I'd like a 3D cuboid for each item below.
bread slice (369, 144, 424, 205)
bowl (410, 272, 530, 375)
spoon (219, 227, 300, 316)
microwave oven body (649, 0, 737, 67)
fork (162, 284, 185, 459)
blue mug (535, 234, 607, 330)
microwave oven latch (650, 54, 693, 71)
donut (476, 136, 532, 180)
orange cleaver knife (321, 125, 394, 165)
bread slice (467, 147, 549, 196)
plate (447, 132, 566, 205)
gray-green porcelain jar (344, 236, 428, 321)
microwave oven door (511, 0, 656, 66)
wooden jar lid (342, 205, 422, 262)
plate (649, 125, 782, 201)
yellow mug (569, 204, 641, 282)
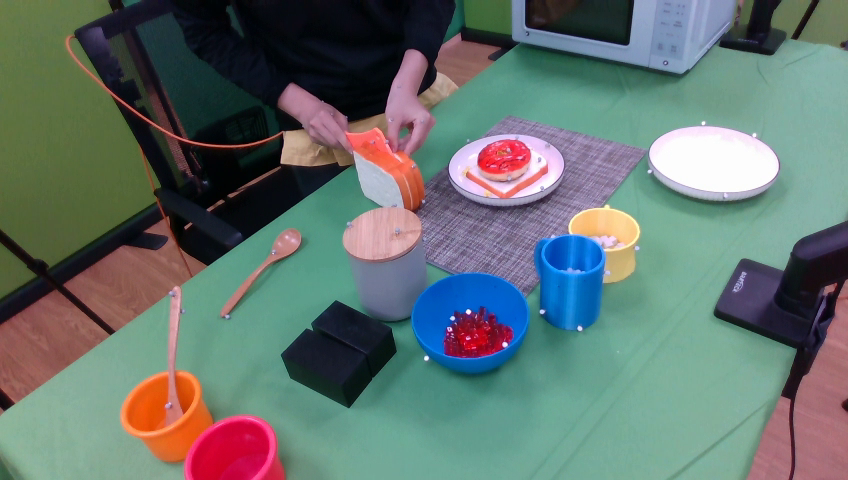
[{"bbox_3d":[-0.051,-0.116,1.053,0.018,0.107,0.133,-36,55,-27],"label":"bread slice"},{"bbox_3d":[0.061,0.120,0.780,0.151,0.077,0.150,-4,40,4],"label":"bowl"},{"bbox_3d":[-0.261,0.046,0.954,0.041,0.021,0.194,27,48,10],"label":"spoon"},{"bbox_3d":[0.475,-0.602,1.411,0.438,0.261,0.327,23,50,32],"label":"microwave oven body"},{"bbox_3d":[-0.303,0.157,0.733,0.028,0.019,0.207,-3,84,14],"label":"fork"},{"bbox_3d":[0.191,0.048,0.824,0.082,0.106,0.115,-26,44,-20],"label":"blue mug"},{"bbox_3d":[0.531,-0.386,1.301,0.078,0.029,0.030,26,51,33],"label":"microwave oven latch"},{"bbox_3d":[0.140,-0.146,1.059,0.099,0.048,0.098,-7,41,6],"label":"donut"},{"bbox_3d":[-0.121,-0.172,1.085,0.012,0.077,0.209,-34,30,-29],"label":"orange cleaver knife"},{"bbox_3d":[0.156,-0.128,1.084,0.132,0.019,0.104,-35,48,-23],"label":"bread slice"},{"bbox_3d":[0.146,-0.124,1.076,0.209,0.038,0.208,-3,41,3],"label":"plate"},{"bbox_3d":[-0.049,0.042,0.849,0.106,0.127,0.105,-4,41,4],"label":"gray-green porcelain jar"},{"bbox_3d":[0.350,-0.539,1.349,0.353,0.245,0.039,24,50,31],"label":"microwave oven door"},{"bbox_3d":[-0.055,-0.005,0.808,0.108,0.021,0.108,-6,40,6],"label":"wooden jar lid"},{"bbox_3d":[0.493,-0.127,1.036,0.207,0.039,0.206,-4,41,4],"label":"plate"},{"bbox_3d":[0.268,-0.005,0.904,0.099,0.064,0.130,7,41,15],"label":"yellow mug"}]
